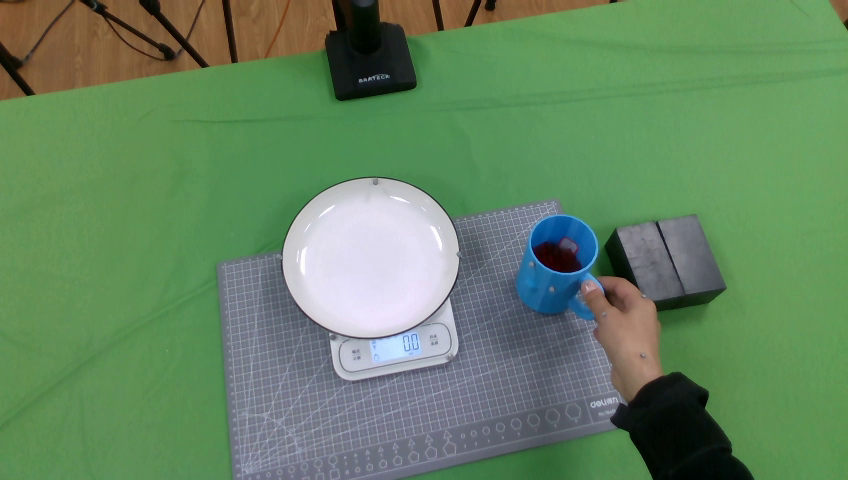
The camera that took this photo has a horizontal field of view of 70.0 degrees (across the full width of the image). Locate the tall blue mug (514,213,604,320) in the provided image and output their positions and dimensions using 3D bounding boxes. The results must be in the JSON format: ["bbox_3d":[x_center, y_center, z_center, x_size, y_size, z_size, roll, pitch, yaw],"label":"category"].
[{"bbox_3d":[0.163,0.035,0.703,0.107,0.109,0.077,23,63,12],"label":"tall blue mug"}]

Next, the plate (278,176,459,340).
[{"bbox_3d":[-0.063,0.021,0.716,0.209,0.038,0.207,1,65,-1],"label":"plate"}]

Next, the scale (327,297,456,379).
[{"bbox_3d":[-0.049,0.059,0.735,0.149,0.032,0.199,-9,66,-5],"label":"scale"}]
